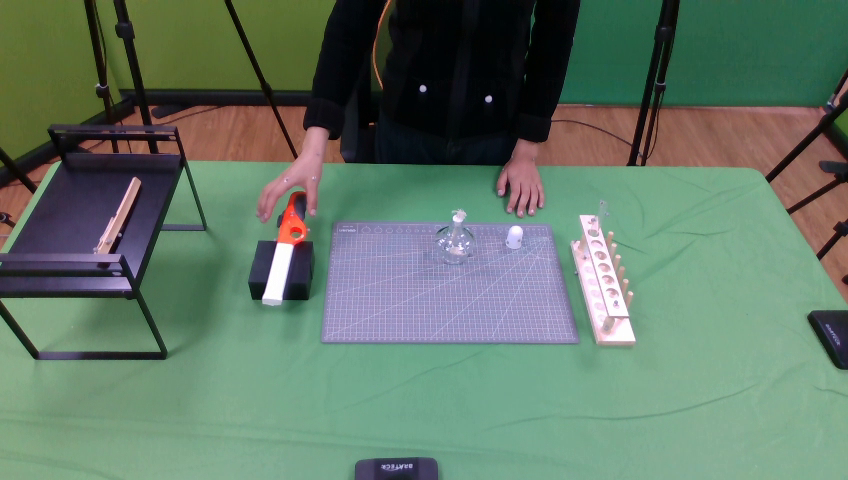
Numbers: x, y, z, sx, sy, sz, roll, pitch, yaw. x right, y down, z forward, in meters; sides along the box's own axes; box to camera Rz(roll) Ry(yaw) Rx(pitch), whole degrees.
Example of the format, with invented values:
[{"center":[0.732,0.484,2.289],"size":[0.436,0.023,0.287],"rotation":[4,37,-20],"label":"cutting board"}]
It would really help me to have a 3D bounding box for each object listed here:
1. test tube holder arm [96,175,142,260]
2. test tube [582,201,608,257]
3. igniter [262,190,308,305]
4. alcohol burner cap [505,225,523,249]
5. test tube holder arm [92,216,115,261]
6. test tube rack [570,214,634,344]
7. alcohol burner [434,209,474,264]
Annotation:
[{"center":[-0.473,-0.039,0.946],"size":[0.013,0.015,0.177],"rotation":[-18,43,19],"label":"test tube holder arm"},{"center":[0.316,-0.017,1.127],"size":[0.017,0.151,0.017],"rotation":[1,51,-1],"label":"test tube"},{"center":[-0.251,0.003,1.107],"size":[0.057,0.025,0.275],"rotation":[9,46,-7],"label":"igniter"},{"center":[0.180,-0.009,1.203],"size":[0.034,0.048,0.033],"rotation":[2,46,-2],"label":"alcohol burner cap"},{"center":[-0.479,-0.004,0.917],"size":[0.010,0.015,0.087],"rotation":[-18,44,20],"label":"test tube holder arm"},{"center":[0.333,0.067,1.116],"size":[0.067,0.085,0.241],"rotation":[1,46,-4],"label":"test tube rack"},{"center":[0.058,-0.011,1.147],"size":[0.078,0.119,0.077],"rotation":[3,44,-3],"label":"alcohol burner"}]
